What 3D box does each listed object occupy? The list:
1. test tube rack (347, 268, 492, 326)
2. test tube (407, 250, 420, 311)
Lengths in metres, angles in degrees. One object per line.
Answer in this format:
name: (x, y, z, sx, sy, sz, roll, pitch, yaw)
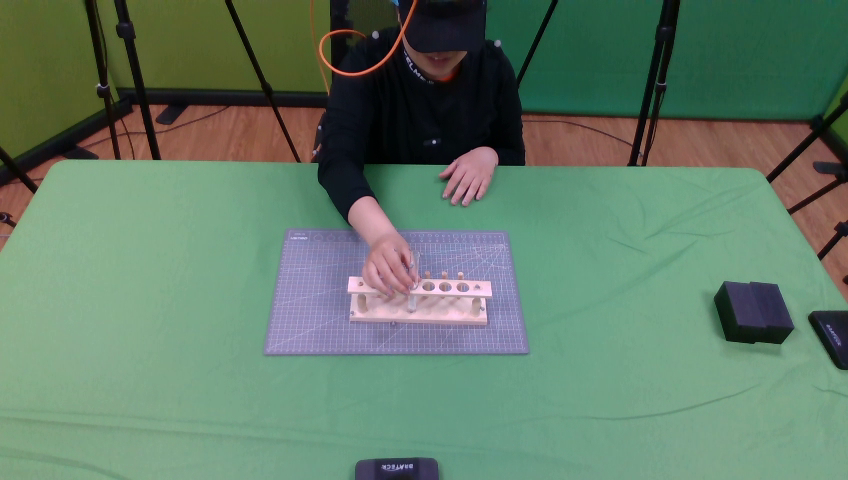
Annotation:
test tube rack: (-0.009, 0.095, 1.059, 0.242, 0.085, 0.066, 2, 46, -2)
test tube: (-0.019, 0.071, 1.012, 0.017, 0.151, 0.017, 2, 47, -2)
